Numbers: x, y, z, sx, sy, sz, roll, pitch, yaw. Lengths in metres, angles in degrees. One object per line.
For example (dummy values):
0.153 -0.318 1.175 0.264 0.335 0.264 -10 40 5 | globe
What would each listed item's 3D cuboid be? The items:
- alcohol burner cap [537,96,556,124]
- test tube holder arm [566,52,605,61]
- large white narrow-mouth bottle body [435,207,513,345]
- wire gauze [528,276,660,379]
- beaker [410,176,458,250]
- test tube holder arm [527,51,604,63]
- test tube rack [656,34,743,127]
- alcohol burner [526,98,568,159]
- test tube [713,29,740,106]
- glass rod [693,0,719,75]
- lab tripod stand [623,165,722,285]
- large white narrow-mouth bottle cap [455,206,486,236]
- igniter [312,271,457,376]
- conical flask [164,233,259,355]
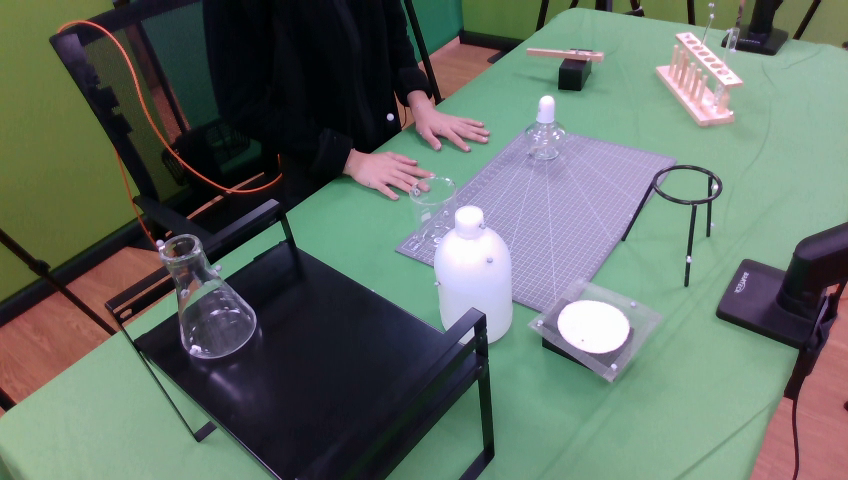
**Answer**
0.223 -0.237 1.095 0.034 0.048 0.033 -2 37 2 | alcohol burner cap
0.352 -0.401 1.325 0.087 0.015 0.010 15 38 31 | test tube holder arm
0.065 0.041 0.791 0.102 0.195 0.101 -4 41 4 | large white narrow-mouth bottle body
0.214 0.103 0.763 0.124 0.011 0.122 30 52 35 | wire gauze
0.022 -0.041 0.964 0.073 0.101 0.084 28 51 35 | beaker
0.311 -0.408 1.344 0.177 0.015 0.013 14 38 30 | test tube holder arm
0.553 -0.330 1.233 0.067 0.085 0.241 -7 40 2 | test tube rack
0.228 -0.210 1.118 0.078 0.119 0.077 -5 43 5 | alcohol burner
0.572 -0.324 1.147 0.017 0.151 0.017 -2 37 2 | test tube
0.561 -0.401 1.214 0.008 0.200 0.008 -1 49 2 | glass rod
0.365 -0.030 0.875 0.148 0.132 0.147 -6 41 6 | lab tripod stand
0.057 -0.023 0.734 0.038 0.024 0.037 -4 40 4 | large white narrow-mouth bottle cap
-0.068 0.111 0.859 0.274 0.025 0.057 27 61 34 | igniter
-0.216 0.051 0.601 0.075 0.122 0.075 -4 40 4 | conical flask
